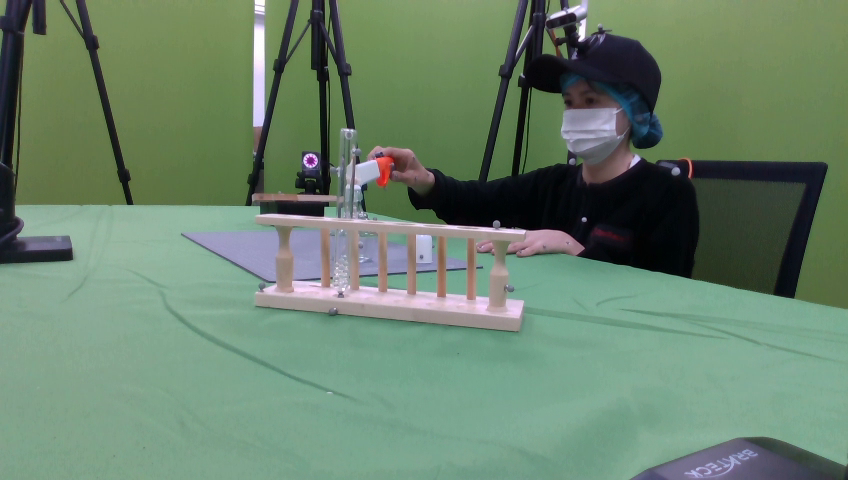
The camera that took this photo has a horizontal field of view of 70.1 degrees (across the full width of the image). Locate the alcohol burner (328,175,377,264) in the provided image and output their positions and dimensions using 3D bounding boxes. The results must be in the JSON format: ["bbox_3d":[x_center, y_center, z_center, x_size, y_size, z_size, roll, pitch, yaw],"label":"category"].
[{"bbox_3d":[-0.098,-0.028,0.819,0.078,0.119,0.078,1,8,0],"label":"alcohol burner"}]

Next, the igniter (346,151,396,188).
[{"bbox_3d":[-0.079,-0.111,0.962,0.025,0.057,0.276,-10,9,9],"label":"igniter"}]

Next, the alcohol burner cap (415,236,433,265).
[{"bbox_3d":[-0.004,0.011,0.835,0.034,0.048,0.034,2,8,0],"label":"alcohol burner cap"}]

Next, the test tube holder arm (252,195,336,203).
[{"bbox_3d":[-0.260,-0.084,1.225,0.179,0.015,0.013,-2,-1,-37],"label":"test tube holder arm"}]

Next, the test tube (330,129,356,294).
[{"bbox_3d":[-0.074,-0.025,0.548,0.017,0.150,0.017,4,6,0],"label":"test tube"}]

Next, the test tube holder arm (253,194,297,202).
[{"bbox_3d":[-0.293,-0.083,1.193,0.088,0.015,0.010,-2,-1,-37],"label":"test tube holder arm"}]

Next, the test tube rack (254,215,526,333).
[{"bbox_3d":[-0.030,0.025,0.557,0.242,0.085,0.067,4,7,12],"label":"test tube rack"}]
